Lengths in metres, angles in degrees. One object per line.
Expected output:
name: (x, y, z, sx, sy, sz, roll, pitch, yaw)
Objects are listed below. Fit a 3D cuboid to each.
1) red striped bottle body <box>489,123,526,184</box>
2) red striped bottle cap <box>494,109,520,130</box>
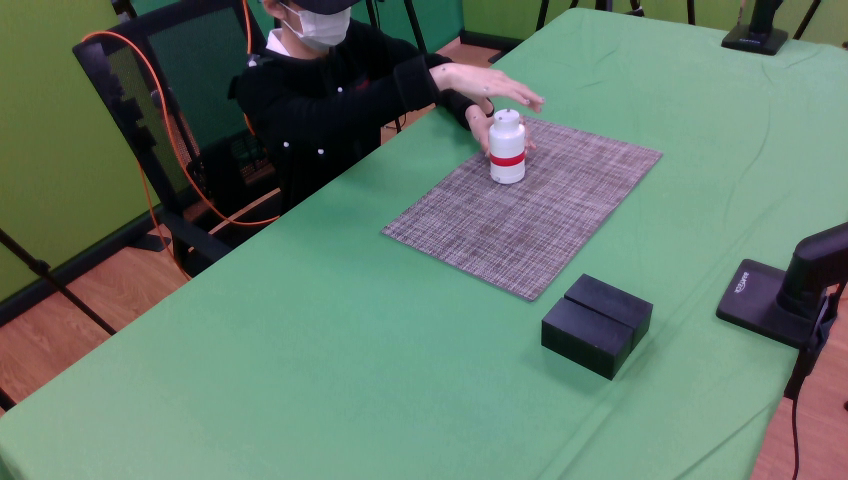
red striped bottle body: (0.147, -0.164, 1.064, 0.063, 0.120, 0.062, -5, 40, 4)
red striped bottle cap: (0.141, -0.205, 1.029, 0.044, 0.018, 0.044, -6, 40, 5)
